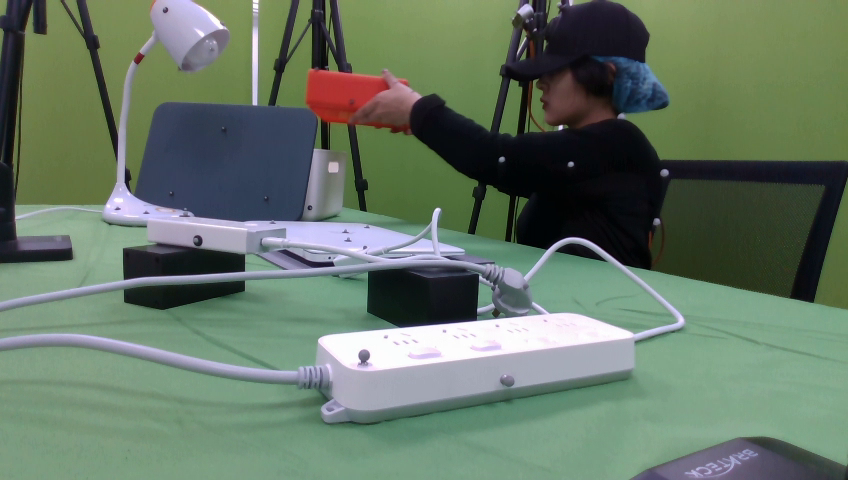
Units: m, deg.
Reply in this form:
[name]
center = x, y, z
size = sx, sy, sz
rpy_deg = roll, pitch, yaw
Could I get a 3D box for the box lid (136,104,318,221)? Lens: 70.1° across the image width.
[box lid]
center = -0.411, -0.162, 1.266
size = 0.371, 0.263, 0.015
rpy_deg = 3, -15, 9

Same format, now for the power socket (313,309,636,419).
[power socket]
center = 0.039, 0.072, 0.384
size = 0.228, 0.032, 0.072
rpy_deg = -2, 7, -28

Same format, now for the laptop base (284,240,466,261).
[laptop base]
center = -0.125, 0.002, 0.945
size = 0.237, 0.023, 0.352
rpy_deg = 2, 6, -31

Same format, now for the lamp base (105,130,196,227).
[lamp base]
center = -0.532, -0.120, 1.153
size = 0.179, 0.180, 0.161
rpy_deg = 1, 7, 8

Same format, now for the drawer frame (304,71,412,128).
[drawer frame]
center = -0.141, -0.314, 1.367
size = 0.214, 0.082, 0.201
rpy_deg = 5, 2, 2

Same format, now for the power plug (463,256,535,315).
[power plug]
center = 0.064, 0.039, 0.530
size = 0.072, 0.052, 0.035
rpy_deg = 31, 43, 7

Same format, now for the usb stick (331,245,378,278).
[usb stick]
center = -0.085, 0.026, 0.702
size = 0.059, 0.027, 0.021
rpy_deg = -18, 19, 27

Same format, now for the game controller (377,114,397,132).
[game controller]
center = -0.096, -0.296, 1.369
size = 0.097, 0.051, 0.155
rpy_deg = 34, 3, -2

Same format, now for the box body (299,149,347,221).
[box body]
center = -0.384, -0.137, 1.407
size = 0.364, 0.160, 0.254
rpy_deg = 3, 8, 7

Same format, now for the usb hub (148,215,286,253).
[usb hub]
center = -0.197, -0.006, 0.575
size = 0.125, 0.025, 0.050
rpy_deg = 6, 6, 22

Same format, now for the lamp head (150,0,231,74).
[lamp head]
center = -0.432, -0.375, 1.086
size = 0.123, 0.112, 0.112
rpy_deg = 42, 8, -2

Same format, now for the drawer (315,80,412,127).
[drawer]
center = -0.137, -0.312, 1.367
size = 0.212, 0.073, 0.194
rpy_deg = 5, 2, 3

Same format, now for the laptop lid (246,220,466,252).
[laptop lid]
center = -0.123, -0.009, 0.945
size = 0.243, 0.013, 0.355
rpy_deg = 1, 7, -29
